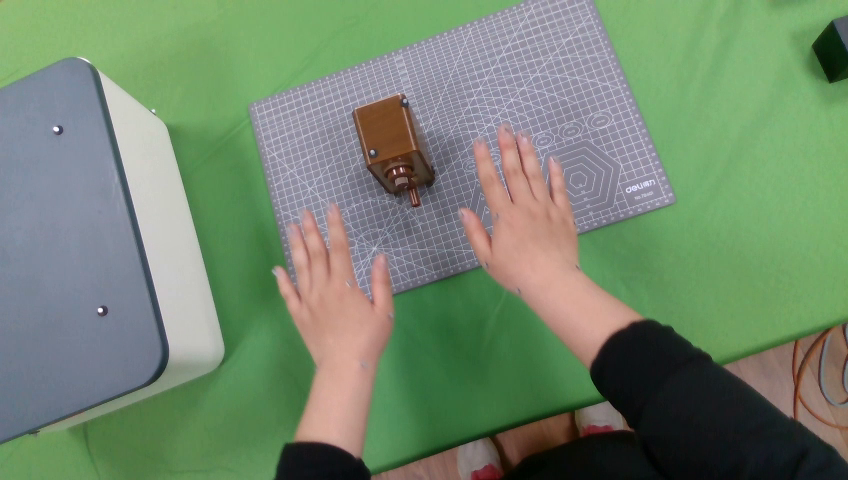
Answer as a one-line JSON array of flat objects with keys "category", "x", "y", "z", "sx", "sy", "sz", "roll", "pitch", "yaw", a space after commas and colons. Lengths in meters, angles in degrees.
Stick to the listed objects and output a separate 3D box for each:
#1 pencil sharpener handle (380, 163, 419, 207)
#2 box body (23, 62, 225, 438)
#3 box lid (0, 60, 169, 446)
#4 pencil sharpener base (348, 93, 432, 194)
[{"category": "pencil sharpener handle", "x": -0.021, "y": -0.058, "z": 0.657, "sx": 0.036, "sy": 0.068, "sz": 0.030, "roll": -19, "pitch": 75, "yaw": 13}, {"category": "box body", "x": -0.409, "y": 0.022, "z": 0.698, "sx": 0.254, "sy": 0.161, "sz": 0.362, "roll": -22, "pitch": 75, "yaw": 5}, {"category": "box lid", "x": -0.418, "y": 0.010, "z": 0.621, "sx": 0.263, "sy": 0.015, "sz": 0.369, "roll": -22, "pitch": 77, "yaw": 4}, {"category": "pencil sharpener base", "x": -0.035, "y": -0.102, "z": 0.681, "sx": 0.061, "sy": 0.107, "sz": 0.076, "roll": -18, "pitch": 76, "yaw": 6}]
